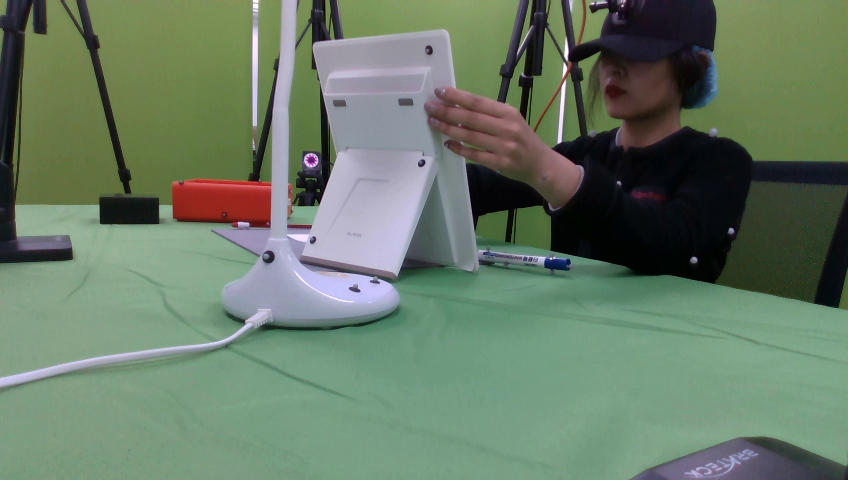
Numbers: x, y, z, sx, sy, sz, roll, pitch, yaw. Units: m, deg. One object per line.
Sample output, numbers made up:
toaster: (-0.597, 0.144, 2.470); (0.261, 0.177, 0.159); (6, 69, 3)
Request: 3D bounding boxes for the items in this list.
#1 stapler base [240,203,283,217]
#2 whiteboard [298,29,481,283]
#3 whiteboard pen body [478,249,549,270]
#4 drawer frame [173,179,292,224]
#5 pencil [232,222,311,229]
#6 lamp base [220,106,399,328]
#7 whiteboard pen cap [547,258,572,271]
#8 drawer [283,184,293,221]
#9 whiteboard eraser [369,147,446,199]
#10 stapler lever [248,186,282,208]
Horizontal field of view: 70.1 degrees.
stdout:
stapler base: (-0.349, -0.066, 1.309); (0.041, 0.024, 0.131); (19, 7, 12)
whiteboard: (-0.075, -0.082, 0.741); (0.216, 0.305, 0.144); (9, 29, 37)
whiteboard pen body: (0.129, 0.027, 0.827); (0.140, 0.017, 0.017); (7, 9, 40)
drawer frame: (-0.400, -0.086, 1.300); (0.214, 0.082, 0.201); (1, 8, -8)
pencil: (-0.261, -0.025, 1.141); (0.195, 0.012, 0.012); (2, 7, -26)
lamp base: (-0.101, -0.023, 0.531); (0.160, 0.180, 0.179); (4, 10, 10)
whiteboard pen cap: (0.176, 0.032, 0.790); (0.033, 0.018, 0.018); (3, 6, 37)
drawer: (-0.396, -0.085, 1.301); (0.212, 0.073, 0.194); (1, 8, -7)
whiteboard eraser: (-0.025, -0.091, 0.814); (0.112, 0.055, 0.042); (15, 32, 36)
stapler lever: (-0.341, -0.092, 1.308); (0.027, 0.040, 0.118); (19, 5, 12)
